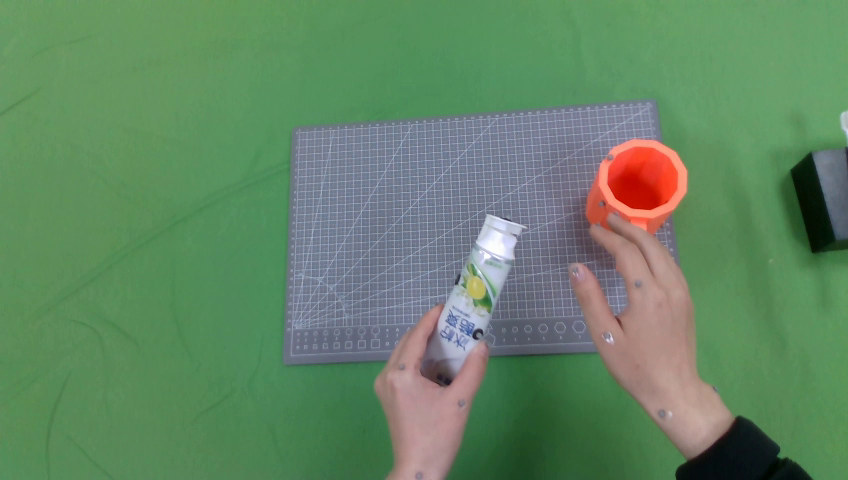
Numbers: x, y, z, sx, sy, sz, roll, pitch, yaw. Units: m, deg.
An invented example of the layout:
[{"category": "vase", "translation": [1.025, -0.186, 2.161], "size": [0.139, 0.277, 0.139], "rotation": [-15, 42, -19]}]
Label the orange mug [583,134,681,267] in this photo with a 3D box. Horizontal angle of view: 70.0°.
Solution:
[{"category": "orange mug", "translation": [0.218, -0.038, 0.648], "size": [0.083, 0.101, 0.125], "rotation": [5, 71, 8]}]

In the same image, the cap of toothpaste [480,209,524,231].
[{"category": "cap of toothpaste", "translation": [0.062, -0.016, 0.489], "size": [0.037, 0.037, 0.011], "rotation": [16, 94, 11]}]

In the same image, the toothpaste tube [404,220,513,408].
[{"category": "toothpaste tube", "translation": [0.032, 0.057, 0.507], "size": [0.054, 0.035, 0.165], "rotation": [28, 104, 29]}]

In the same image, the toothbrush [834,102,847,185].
[{"category": "toothbrush", "translation": [0.443, -0.060, 0.623], "size": [0.014, 0.017, 0.181], "rotation": [2, 75, 4]}]
